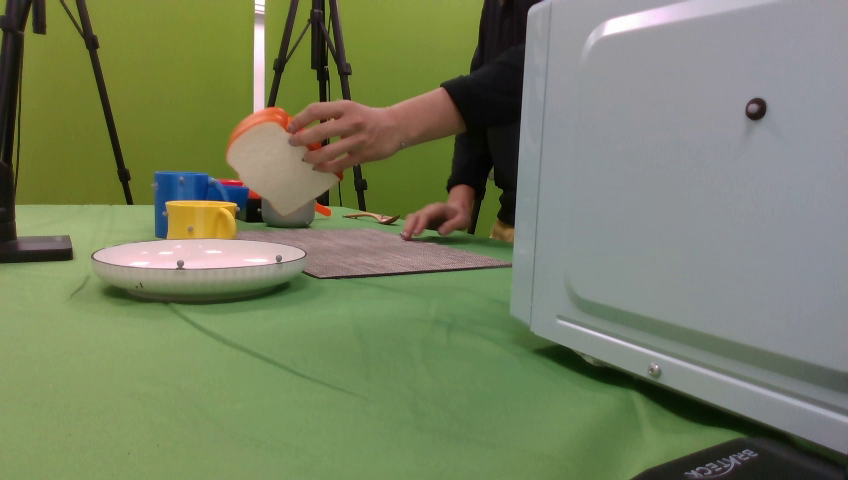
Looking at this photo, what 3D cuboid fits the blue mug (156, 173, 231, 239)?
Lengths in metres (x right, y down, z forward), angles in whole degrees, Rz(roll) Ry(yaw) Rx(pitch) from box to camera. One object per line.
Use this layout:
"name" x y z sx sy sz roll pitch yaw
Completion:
"blue mug" -0.381 -0.057 1.004 0.117 0.106 0.082 0 8 -12

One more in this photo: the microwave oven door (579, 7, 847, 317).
"microwave oven door" 0.294 -0.067 0.570 0.358 0.243 0.039 -3 9 -31

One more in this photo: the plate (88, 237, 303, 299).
"plate" -0.233 0.029 0.636 0.208 0.039 0.207 2 7 0

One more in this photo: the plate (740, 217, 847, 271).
"plate" 0.358 0.002 0.464 0.209 0.038 0.209 0 4 0

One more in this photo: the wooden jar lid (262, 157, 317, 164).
"wooden jar lid" -0.269 -0.154 1.208 0.108 0.020 0.108 3 4 0

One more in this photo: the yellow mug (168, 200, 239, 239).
"yellow mug" -0.320 -0.023 0.904 0.130 0.064 0.100 9 10 36

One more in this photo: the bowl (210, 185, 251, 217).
"bowl" -0.408 -0.064 1.155 0.151 0.077 0.151 2 8 0

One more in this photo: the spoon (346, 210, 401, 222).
"spoon" -0.121 -0.060 1.400 0.042 0.021 0.192 -28 25 -37

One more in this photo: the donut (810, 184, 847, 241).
"donut" 0.352 -0.025 0.463 0.099 0.048 0.099 -10 4 1

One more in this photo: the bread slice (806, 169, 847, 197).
"bread slice" 0.365 -0.051 0.453 0.135 0.018 0.106 -10 1 -23

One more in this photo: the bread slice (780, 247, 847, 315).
"bread slice" 0.370 0.023 0.475 0.132 0.019 0.104 -23 11 -10

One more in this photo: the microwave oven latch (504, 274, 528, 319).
"microwave oven latch" 0.100 0.041 0.470 0.079 0.029 0.030 -1 7 -27

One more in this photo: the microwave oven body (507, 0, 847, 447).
"microwave oven body" 0.331 -0.042 0.425 0.444 0.260 0.324 -2 8 -31

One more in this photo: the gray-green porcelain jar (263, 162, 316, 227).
"gray-green porcelain jar" -0.271 -0.092 1.217 0.106 0.126 0.106 2 7 0

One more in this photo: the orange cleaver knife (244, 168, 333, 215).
"orange cleaver knife" -0.300 -0.089 1.351 0.212 0.077 0.012 28 -9 -34

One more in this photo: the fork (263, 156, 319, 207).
"fork" -0.331 -0.144 1.505 0.207 0.018 0.028 -42 -20 22
